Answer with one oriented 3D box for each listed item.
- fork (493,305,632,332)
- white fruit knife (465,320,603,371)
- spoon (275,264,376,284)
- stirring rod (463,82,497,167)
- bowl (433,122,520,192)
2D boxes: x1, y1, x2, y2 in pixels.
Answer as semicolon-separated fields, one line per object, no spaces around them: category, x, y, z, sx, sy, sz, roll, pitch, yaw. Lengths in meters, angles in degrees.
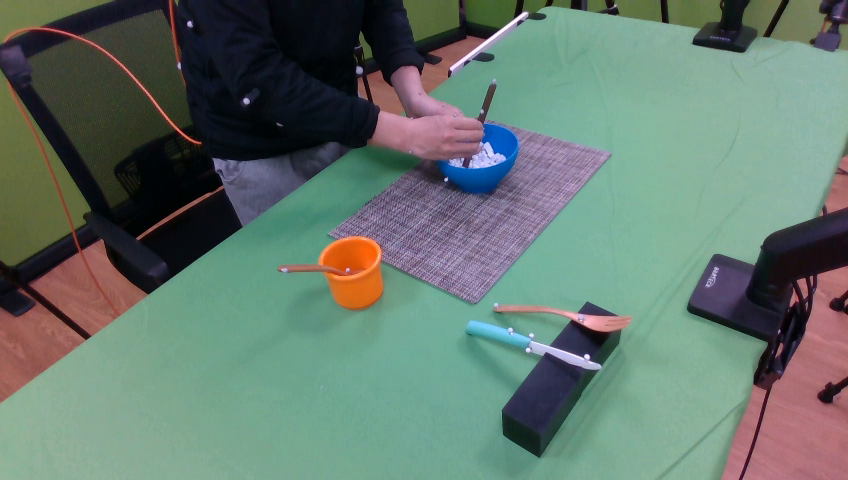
fork;0.171;0.097;0.783;0.205;0.019;0.028;4;40;43
white fruit knife;0.128;0.129;0.749;0.205;0.027;0.016;10;45;43
spoon;-0.133;0.044;0.839;0.041;0.195;0.021;25;95;33
stirring rod;0.090;-0.184;1.019;0.014;0.176;0.005;-16;48;-37
bowl;0.093;-0.137;1.064;0.151;0.077;0.150;-4;40;4
